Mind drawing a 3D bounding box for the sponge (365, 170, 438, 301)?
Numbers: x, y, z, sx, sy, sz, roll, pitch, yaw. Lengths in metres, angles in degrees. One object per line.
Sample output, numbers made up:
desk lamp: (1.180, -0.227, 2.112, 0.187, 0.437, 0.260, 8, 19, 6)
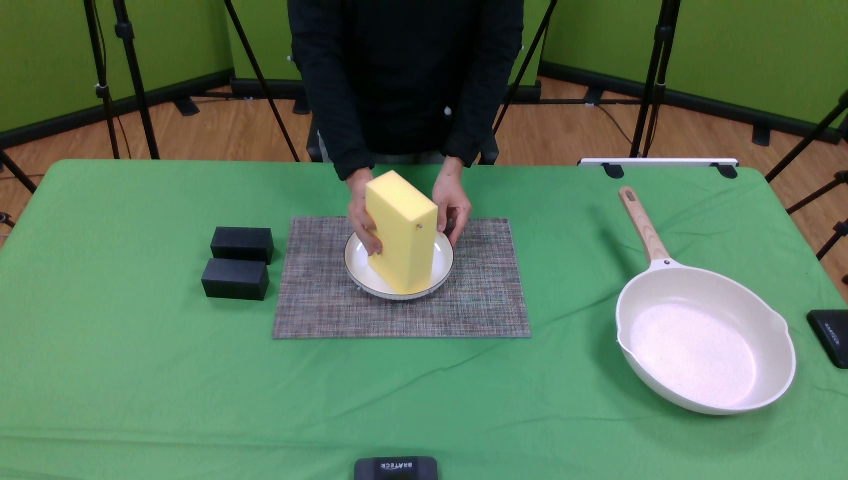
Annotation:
sponge: (-0.043, -0.004, 1.054, 0.061, 0.208, 0.117, -32, 57, -29)

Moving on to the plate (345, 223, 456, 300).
plate: (-0.045, 0.035, 1.146, 0.208, 0.039, 0.206, 2, 46, -2)

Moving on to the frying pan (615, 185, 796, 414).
frying pan: (0.449, 0.087, 1.092, 0.307, 0.103, 0.484, -4, 55, -10)
